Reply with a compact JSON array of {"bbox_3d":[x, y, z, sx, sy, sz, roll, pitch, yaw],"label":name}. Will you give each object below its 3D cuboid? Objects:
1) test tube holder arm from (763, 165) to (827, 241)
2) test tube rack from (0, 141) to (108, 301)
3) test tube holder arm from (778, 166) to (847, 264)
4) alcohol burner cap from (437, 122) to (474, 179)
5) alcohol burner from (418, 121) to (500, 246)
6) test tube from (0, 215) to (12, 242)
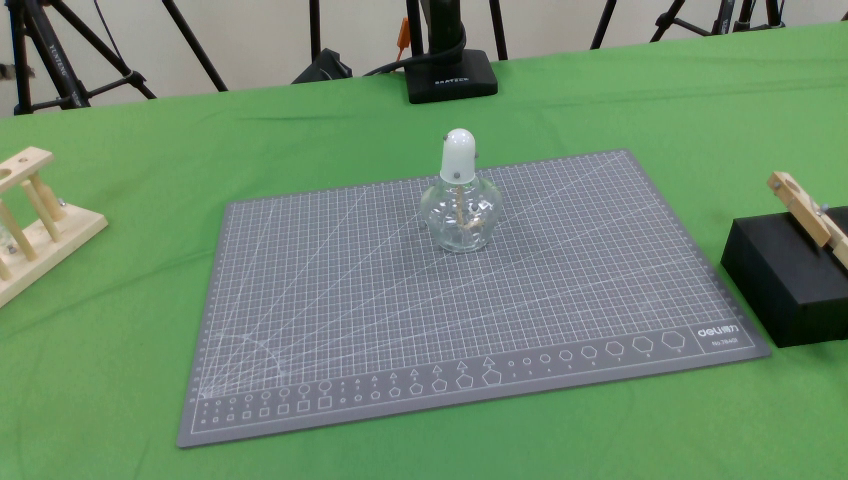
[{"bbox_3d":[0.308,-0.032,0.501,0.010,0.015,0.087,-1,42,-7],"label":"test tube holder arm"},{"bbox_3d":[-0.424,0.012,0.555,0.066,0.086,0.241,16,46,22],"label":"test tube rack"},{"bbox_3d":[0.318,-0.002,0.469,0.013,0.015,0.176,-1,42,-7],"label":"test tube holder arm"},{"bbox_3d":[0.029,-0.080,0.529,0.034,0.048,0.033,1,41,-1],"label":"alcohol burner cap"},{"bbox_3d":[0.031,-0.054,0.554,0.078,0.120,0.077,-4,40,3],"label":"alcohol burner"},{"bbox_3d":[-0.425,-0.058,0.558,0.017,0.151,0.017,-4,39,4],"label":"test tube"}]
